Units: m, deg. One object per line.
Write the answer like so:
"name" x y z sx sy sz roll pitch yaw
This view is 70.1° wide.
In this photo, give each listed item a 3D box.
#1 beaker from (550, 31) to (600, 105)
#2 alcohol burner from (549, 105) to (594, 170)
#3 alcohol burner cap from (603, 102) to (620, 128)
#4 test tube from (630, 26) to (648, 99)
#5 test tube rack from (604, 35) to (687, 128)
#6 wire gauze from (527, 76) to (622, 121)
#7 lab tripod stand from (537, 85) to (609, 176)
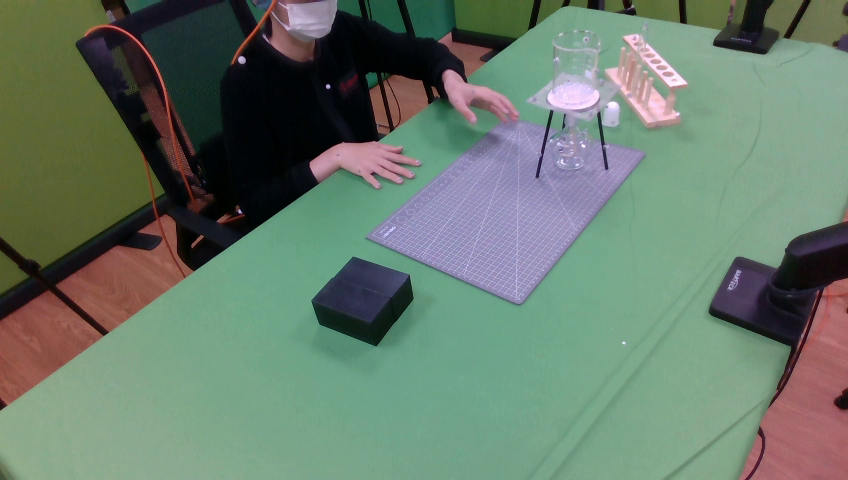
"beaker" 0.250 -0.281 0.996 0.074 0.101 0.083 -37 49 -27
"alcohol burner" 0.262 -0.186 1.076 0.078 0.119 0.077 -6 41 6
"alcohol burner cap" 0.371 -0.249 1.193 0.034 0.048 0.033 -5 41 5
"test tube" 0.426 -0.350 1.199 0.017 0.151 0.017 -4 42 4
"test tube rack" 0.447 -0.330 1.241 0.067 0.085 0.241 -9 41 -2
"wire gauze" 0.255 -0.247 1.030 0.124 0.011 0.122 23 49 34
"lab tripod stand" 0.259 -0.192 1.068 0.148 0.132 0.147 -4 43 4
